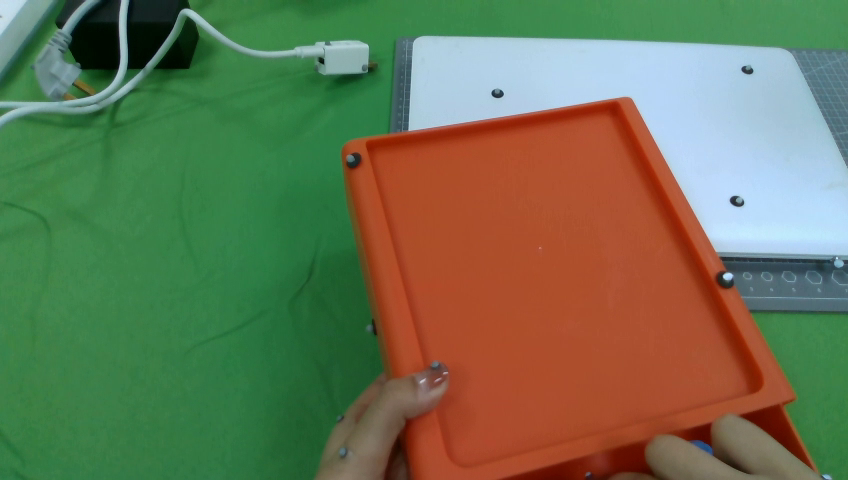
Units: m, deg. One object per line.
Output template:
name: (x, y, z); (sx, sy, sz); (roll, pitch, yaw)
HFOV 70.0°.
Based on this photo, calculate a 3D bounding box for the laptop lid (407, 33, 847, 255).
laptop lid: (0.161, -0.090, 0.497); (0.357, 0.013, 0.239); (3, 57, 0)

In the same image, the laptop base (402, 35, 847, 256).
laptop base: (0.161, -0.085, 0.508); (0.354, 0.023, 0.233); (2, 58, -1)

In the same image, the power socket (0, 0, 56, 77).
power socket: (-0.408, -0.221, 0.578); (0.072, 0.033, 0.224); (5, 54, 0)

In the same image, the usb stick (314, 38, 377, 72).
usb stick: (-0.069, -0.168, 0.549); (0.059, 0.027, 0.021); (-13, 32, -36)

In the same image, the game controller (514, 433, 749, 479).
game controller: (0.103, 0.158, 0.303); (0.155, 0.052, 0.096); (-10, 65, -12)

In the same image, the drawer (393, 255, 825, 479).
drawer: (0.094, 0.113, 0.319); (0.195, 0.074, 0.209); (-10, 61, -10)

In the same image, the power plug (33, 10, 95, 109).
power plug: (-0.295, -0.149, 0.512); (0.072, 0.053, 0.035); (-51, 36, 0)

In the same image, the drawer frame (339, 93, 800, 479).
drawer frame: (0.068, 0.028, 0.365); (0.202, 0.083, 0.211); (-12, 61, -10)
